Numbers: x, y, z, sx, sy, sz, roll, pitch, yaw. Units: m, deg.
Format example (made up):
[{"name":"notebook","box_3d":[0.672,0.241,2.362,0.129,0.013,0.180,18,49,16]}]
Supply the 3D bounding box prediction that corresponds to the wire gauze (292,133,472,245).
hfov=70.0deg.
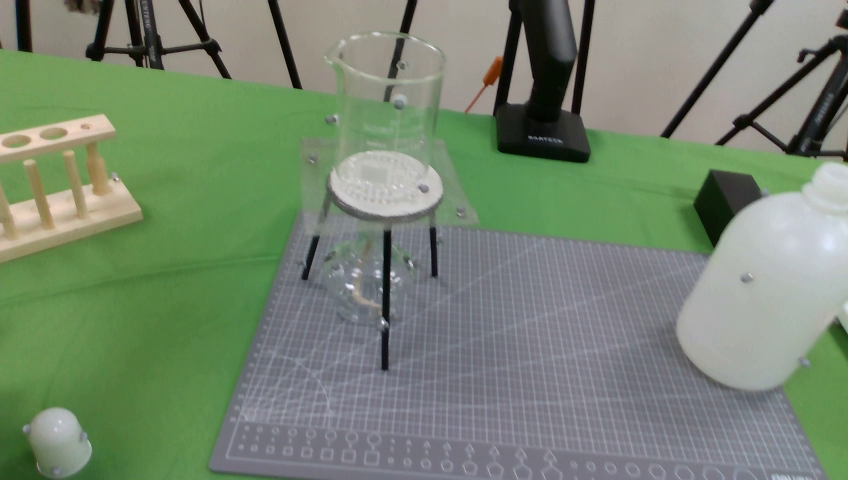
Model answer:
[{"name":"wire gauze","box_3d":[-0.036,-0.046,0.455,0.122,0.011,0.123,-4,45,-12]}]

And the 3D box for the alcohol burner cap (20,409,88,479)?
[{"name":"alcohol burner cap","box_3d":[-0.238,0.129,0.387,0.034,0.048,0.033,7,40,-5]}]

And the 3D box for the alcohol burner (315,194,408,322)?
[{"name":"alcohol burner","box_3d":[-0.050,0.011,0.503,0.078,0.120,0.077,7,38,-5]}]

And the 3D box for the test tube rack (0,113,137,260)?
[{"name":"test tube rack","box_3d":[-0.389,-0.031,0.517,0.243,0.086,0.066,-23,49,-33]}]

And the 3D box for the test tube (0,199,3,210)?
[{"name":"test tube","box_3d":[-0.379,-0.085,0.506,0.017,0.151,0.017,6,35,-4]}]

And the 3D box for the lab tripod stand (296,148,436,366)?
[{"name":"lab tripod stand","box_3d":[-0.040,0.006,0.495,0.148,0.132,0.147,7,40,-5]}]

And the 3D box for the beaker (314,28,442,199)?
[{"name":"beaker","box_3d":[-0.035,-0.086,0.426,0.084,0.101,0.073,2,41,-8]}]

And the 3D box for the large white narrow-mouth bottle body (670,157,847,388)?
[{"name":"large white narrow-mouth bottle body","box_3d":[0.277,0.024,0.485,0.102,0.196,0.101,4,39,-3]}]

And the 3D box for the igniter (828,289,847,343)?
[{"name":"igniter","box_3d":[0.405,0.138,0.508,0.057,0.025,0.274,15,38,-9]}]
